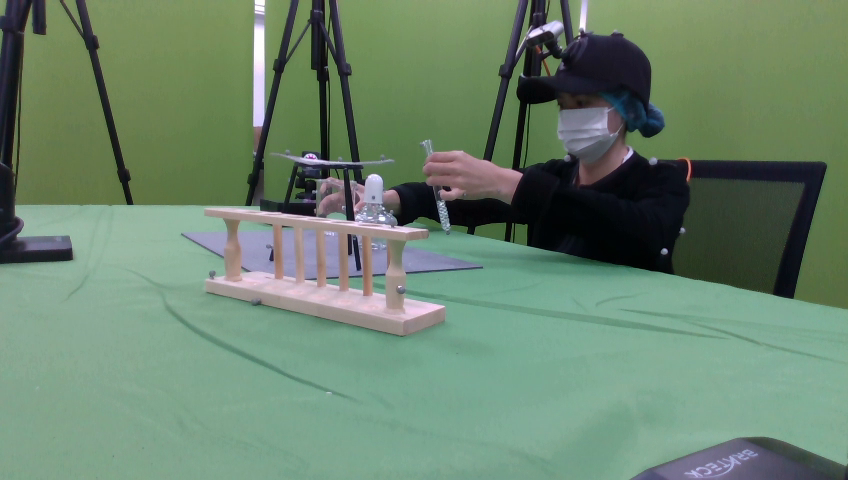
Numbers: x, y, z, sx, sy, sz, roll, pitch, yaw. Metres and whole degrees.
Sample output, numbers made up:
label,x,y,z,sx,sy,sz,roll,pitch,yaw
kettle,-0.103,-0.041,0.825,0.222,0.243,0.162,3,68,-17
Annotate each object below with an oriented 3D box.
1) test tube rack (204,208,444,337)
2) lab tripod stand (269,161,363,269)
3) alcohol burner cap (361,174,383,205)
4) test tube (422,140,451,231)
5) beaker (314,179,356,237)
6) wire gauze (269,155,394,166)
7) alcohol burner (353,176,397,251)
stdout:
label,x,y,z,sx,sy,sz,roll,pitch,yaw
test tube rack,-0.100,0.021,0.565,0.241,0.085,0.067,7,9,32
lab tripod stand,-0.125,-0.036,0.794,0.148,0.131,0.148,5,7,0
alcohol burner cap,-0.080,-0.078,0.944,0.034,0.048,0.034,5,8,0
test tube,0.021,-0.087,0.972,0.017,0.150,0.017,-13,0,0
beaker,-0.162,-0.058,1.094,0.074,0.100,0.083,0,9,-21
wire gauze,-0.121,-0.102,0.785,0.122,0.011,0.124,-3,10,-39
alcohol burner,-0.082,-0.043,0.950,0.078,0.119,0.078,1,8,0
